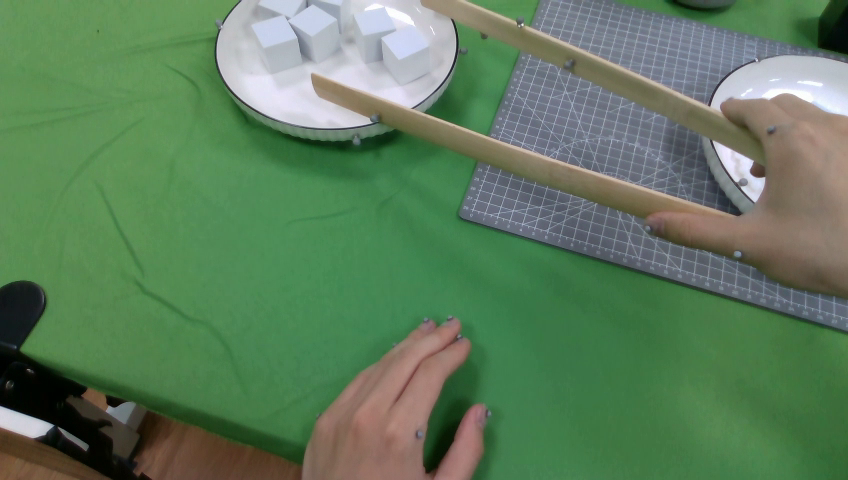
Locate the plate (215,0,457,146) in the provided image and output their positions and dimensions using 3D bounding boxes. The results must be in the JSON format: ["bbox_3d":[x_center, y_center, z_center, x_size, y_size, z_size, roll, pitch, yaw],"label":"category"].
[{"bbox_3d":[-0.075,-0.159,0.539,0.208,0.039,0.205,1,58,-1],"label":"plate"}]

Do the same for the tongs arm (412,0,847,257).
[{"bbox_3d":[0.114,-0.104,0.436,0.381,0.027,0.050,34,66,29],"label":"tongs arm"}]

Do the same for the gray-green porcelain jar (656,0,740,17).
[{"bbox_3d":[0.278,-0.292,0.582,0.106,0.127,0.105,1,57,-1],"label":"gray-green porcelain jar"}]

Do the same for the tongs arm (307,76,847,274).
[{"bbox_3d":[0.069,-0.055,0.412,0.385,0.028,0.028,23,58,25],"label":"tongs arm"}]

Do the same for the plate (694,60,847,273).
[{"bbox_3d":[0.319,-0.060,0.487,0.209,0.038,0.207,1,58,-1],"label":"plate"}]
